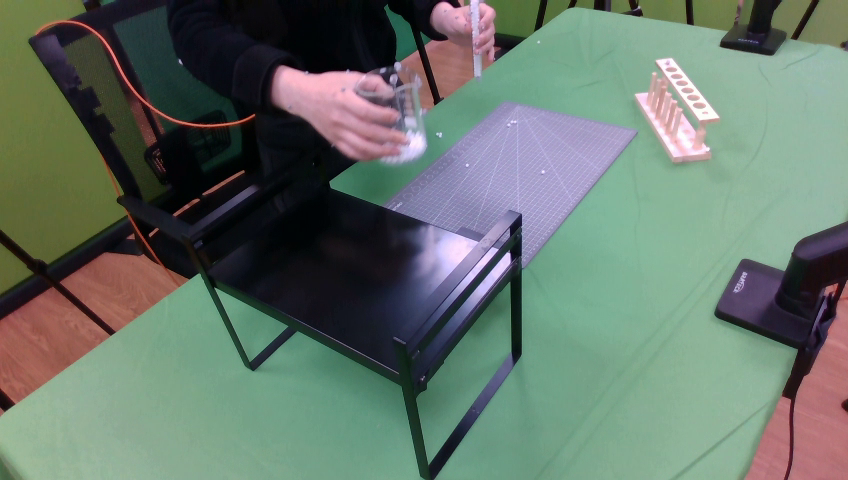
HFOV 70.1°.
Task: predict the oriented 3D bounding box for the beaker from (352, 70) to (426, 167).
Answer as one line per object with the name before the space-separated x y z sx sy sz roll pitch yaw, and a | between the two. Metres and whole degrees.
beaker | -0.036 -0.147 0.743 0.083 0.101 0.074 4 40 20

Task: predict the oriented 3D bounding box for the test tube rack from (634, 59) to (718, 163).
test tube rack | 0.470 -0.250 1.148 0.067 0.085 0.241 -6 40 3

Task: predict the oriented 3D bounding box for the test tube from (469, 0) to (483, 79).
test tube | 0.084 -0.322 0.976 0.017 0.151 0.017 -4 55 6
